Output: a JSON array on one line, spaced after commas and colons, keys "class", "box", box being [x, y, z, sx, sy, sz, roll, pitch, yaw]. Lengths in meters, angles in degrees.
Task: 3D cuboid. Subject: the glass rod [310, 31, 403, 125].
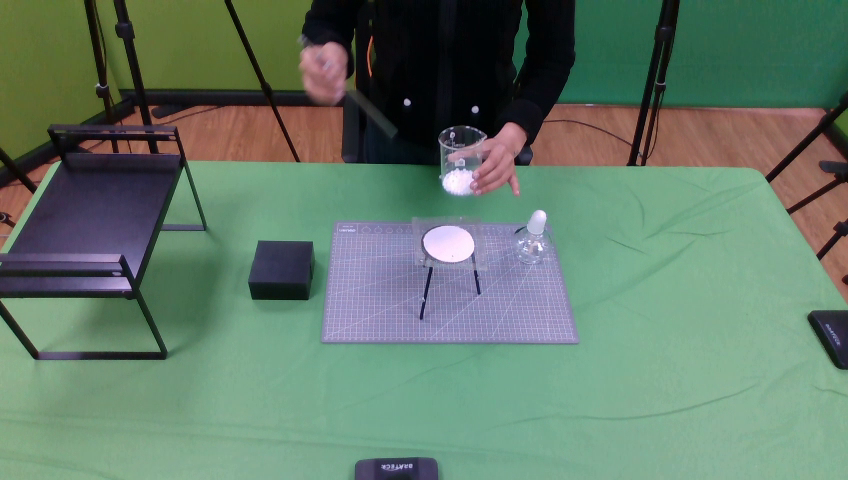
[{"class": "glass rod", "box": [-0.101, -0.247, 0.936, 0.008, 0.201, 0.008, -35, 30, 24]}]

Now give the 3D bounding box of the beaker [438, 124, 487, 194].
[{"class": "beaker", "box": [0.066, -0.135, 1.025, 0.084, 0.101, 0.073, -12, 42, -10]}]

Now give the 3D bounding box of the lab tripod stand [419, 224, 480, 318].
[{"class": "lab tripod stand", "box": [0.034, 0.052, 1.070, 0.148, 0.132, 0.147, 3, 48, -3]}]

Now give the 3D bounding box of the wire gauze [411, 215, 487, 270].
[{"class": "wire gauze", "box": [0.041, 0.002, 1.025, 0.125, 0.011, 0.120, 1, 46, -3]}]

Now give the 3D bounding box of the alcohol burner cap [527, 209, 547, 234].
[{"class": "alcohol burner cap", "box": [0.213, -0.038, 1.134, 0.034, 0.048, 0.033, 4, 50, -4]}]

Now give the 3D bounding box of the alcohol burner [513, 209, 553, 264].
[{"class": "alcohol burner", "box": [0.211, -0.012, 1.158, 0.078, 0.120, 0.077, 1, 45, -1]}]
